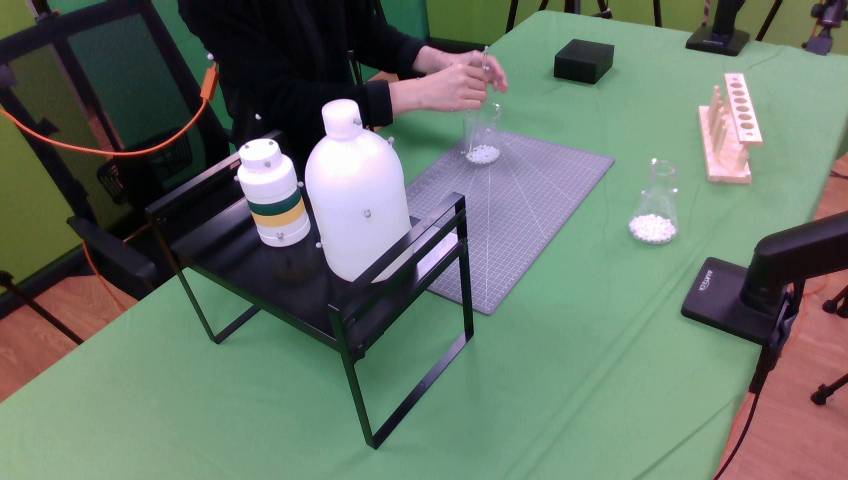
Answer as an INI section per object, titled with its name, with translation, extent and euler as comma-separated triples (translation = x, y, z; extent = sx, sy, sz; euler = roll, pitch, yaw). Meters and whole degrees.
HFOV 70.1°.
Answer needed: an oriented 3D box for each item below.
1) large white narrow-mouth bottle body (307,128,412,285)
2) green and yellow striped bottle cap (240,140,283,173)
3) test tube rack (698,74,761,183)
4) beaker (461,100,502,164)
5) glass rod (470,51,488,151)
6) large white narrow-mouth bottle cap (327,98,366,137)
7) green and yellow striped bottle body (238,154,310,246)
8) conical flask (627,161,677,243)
[large white narrow-mouth bottle body]
translation = -0.070, -0.051, 0.638
extent = 0.102, 0.195, 0.101
euler = -3, 40, 3
[green and yellow striped bottle cap]
translation = -0.183, -0.094, 0.679
extent = 0.045, 0.020, 0.045
euler = -5, 38, 4
[test tube rack]
translation = 0.547, -0.208, 1.095
extent = 0.066, 0.085, 0.242
euler = 5, 42, 15
[beaker]
translation = 0.111, -0.200, 1.132
extent = 0.084, 0.101, 0.073
euler = -27, 45, -22
[glass rod]
translation = 0.097, -0.241, 1.071
extent = 0.008, 0.200, 0.008
euler = 3, 43, -2
[large white narrow-mouth bottle cap]
translation = -0.075, -0.118, 0.582
extent = 0.038, 0.024, 0.037
euler = -3, 40, 3
[green and yellow striped bottle body]
translation = -0.178, -0.056, 0.714
extent = 0.063, 0.120, 0.063
euler = -4, 40, 4
[conical flask]
translation = 0.355, -0.061, 0.921
extent = 0.075, 0.122, 0.075
euler = -4, 41, 4
